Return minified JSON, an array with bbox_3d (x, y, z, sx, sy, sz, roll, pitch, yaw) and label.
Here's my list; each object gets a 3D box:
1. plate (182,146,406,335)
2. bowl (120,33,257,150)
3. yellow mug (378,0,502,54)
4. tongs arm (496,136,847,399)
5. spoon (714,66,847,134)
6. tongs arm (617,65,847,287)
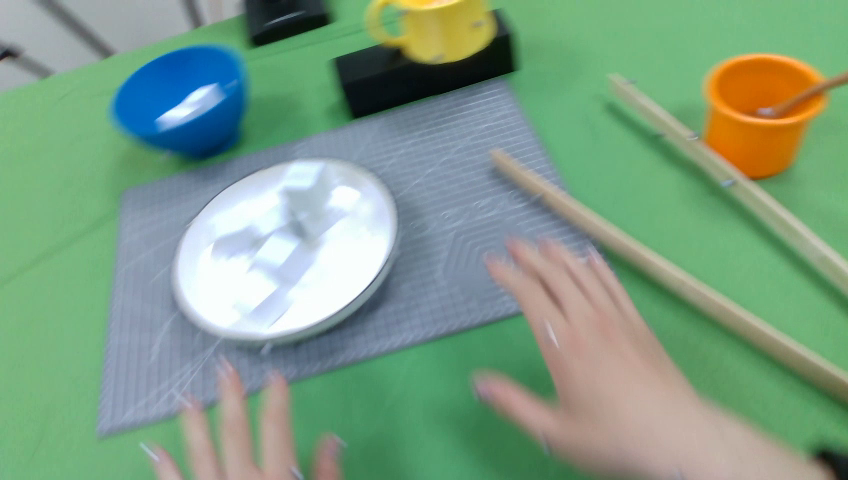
[{"bbox_3d":[-0.116,-0.001,0.560,0.207,0.039,0.205,-6,52,8],"label":"plate"},{"bbox_3d":[-0.251,-0.156,0.687,0.151,0.077,0.150,-7,52,9],"label":"bowl"},{"bbox_3d":[0.015,-0.252,0.642,0.131,0.064,0.099,-13,51,3],"label":"yellow mug"},{"bbox_3d":[0.196,0.011,0.487,0.028,0.028,0.383,-36,55,-20],"label":"tongs arm"},{"bbox_3d":[0.323,-0.124,0.486,0.022,0.193,0.041,45,63,-11],"label":"spoon"},{"bbox_3d":[0.264,-0.031,0.502,0.051,0.027,0.380,-27,54,-10],"label":"tongs arm"}]
